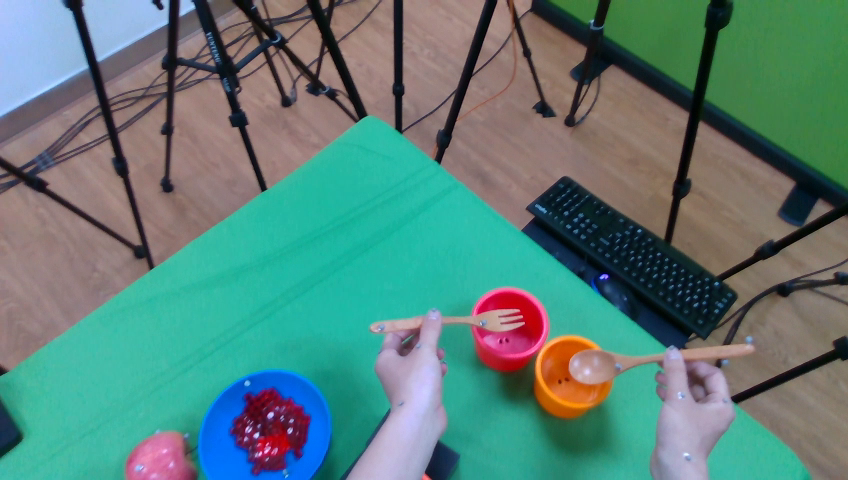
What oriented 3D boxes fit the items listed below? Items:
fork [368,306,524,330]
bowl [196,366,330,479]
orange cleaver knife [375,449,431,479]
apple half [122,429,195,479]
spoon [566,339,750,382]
[{"bbox_3d":[0.031,0.089,0.679,0.209,0.018,0.028,3,63,-36],"label":"fork"},{"bbox_3d":[-0.182,0.235,0.718,0.151,0.077,0.150,0,60,1],"label":"bowl"},{"bbox_3d":[0.031,0.301,0.676,0.211,0.077,0.012,41,59,-2],"label":"orange cleaver knife"},{"bbox_3d":[-0.319,0.264,0.718,0.075,0.054,0.080,-19,62,-8],"label":"apple half"},{"bbox_3d":[0.246,0.126,0.656,0.193,0.022,0.041,-17,53,37],"label":"spoon"}]
